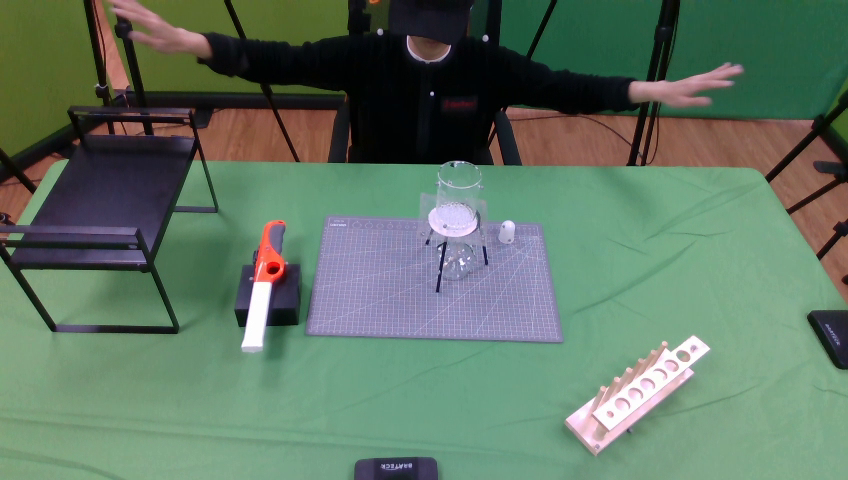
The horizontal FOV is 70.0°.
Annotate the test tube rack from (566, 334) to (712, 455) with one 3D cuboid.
[{"bbox_3d":[0.339,0.228,0.951,0.242,0.085,0.066,-26,52,-26],"label":"test tube rack"}]

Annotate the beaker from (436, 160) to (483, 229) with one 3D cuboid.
[{"bbox_3d":[0.057,-0.077,1.032,0.074,0.101,0.083,-4,44,-8],"label":"beaker"}]

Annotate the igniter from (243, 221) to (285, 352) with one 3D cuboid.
[{"bbox_3d":[-0.273,0.069,1.041,0.057,0.025,0.274,2,48,-6],"label":"igniter"}]

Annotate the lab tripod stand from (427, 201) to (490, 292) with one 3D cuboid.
[{"bbox_3d":[0.053,0.003,1.114,0.148,0.132,0.147,0,46,0],"label":"lab tripod stand"}]

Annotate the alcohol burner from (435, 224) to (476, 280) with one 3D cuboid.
[{"bbox_3d":[0.060,0.017,1.114,0.078,0.119,0.077,3,44,-2],"label":"alcohol burner"}]

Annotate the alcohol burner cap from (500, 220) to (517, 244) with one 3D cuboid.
[{"bbox_3d":[0.170,-0.018,1.205,0.034,0.048,0.033,1,46,0],"label":"alcohol burner cap"}]

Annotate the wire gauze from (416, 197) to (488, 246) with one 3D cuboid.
[{"bbox_3d":[0.050,-0.037,1.062,0.125,0.011,0.121,3,42,4],"label":"wire gauze"}]
